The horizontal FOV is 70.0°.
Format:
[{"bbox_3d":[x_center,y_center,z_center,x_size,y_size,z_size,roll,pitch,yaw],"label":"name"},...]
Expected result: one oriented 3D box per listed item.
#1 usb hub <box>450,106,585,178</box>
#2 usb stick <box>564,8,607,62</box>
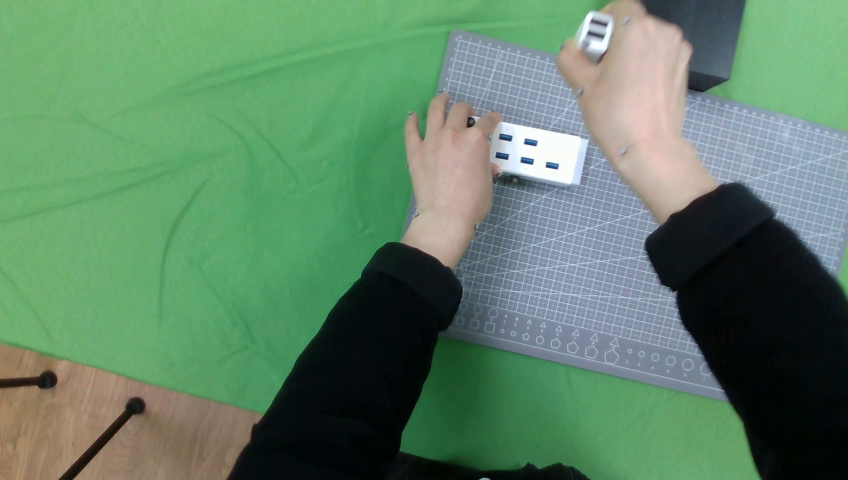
[{"bbox_3d":[0.091,-0.096,0.595,0.125,0.025,0.049,10,90,-3],"label":"usb hub"},{"bbox_3d":[0.121,-0.153,0.462,0.021,0.059,0.027,11,89,4],"label":"usb stick"}]
